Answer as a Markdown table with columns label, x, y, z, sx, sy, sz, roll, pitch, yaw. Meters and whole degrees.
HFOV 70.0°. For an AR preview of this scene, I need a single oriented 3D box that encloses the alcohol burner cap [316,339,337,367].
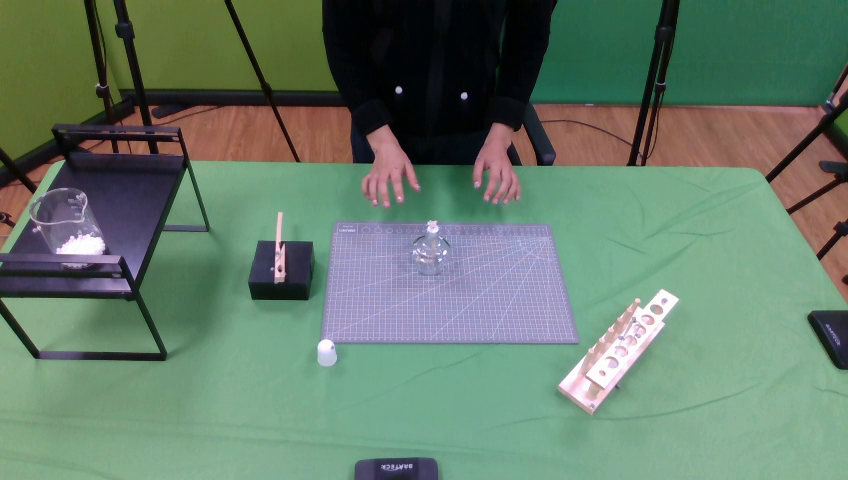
| label | x | y | z | sx | sy | sz | roll | pitch | yaw |
| --- | --- | --- | --- | --- | --- | --- | --- | --- | --- |
| alcohol burner cap | -0.161 | 0.182 | 0.995 | 0.034 | 0.048 | 0.033 | 2 | 47 | -2 |

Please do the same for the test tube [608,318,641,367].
| label | x | y | z | sx | sy | sz | roll | pitch | yaw |
| --- | --- | --- | --- | --- | --- | --- | --- | --- | --- |
| test tube | 0.308 | 0.169 | 0.941 | 0.017 | 0.151 | 0.017 | 1 | 49 | -1 |

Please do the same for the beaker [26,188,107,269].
| label | x | y | z | sx | sy | sz | roll | pitch | yaw |
| --- | --- | --- | --- | --- | --- | --- | --- | --- | --- |
| beaker | -0.504 | -0.013 | 0.868 | 0.084 | 0.101 | 0.074 | 23 | 49 | 17 |

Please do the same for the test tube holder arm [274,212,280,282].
| label | x | y | z | sx | sy | sz | roll | pitch | yaw |
| --- | --- | --- | --- | --- | --- | --- | --- | --- | --- |
| test tube holder arm | -0.267 | 0.008 | 1.103 | 0.013 | 0.015 | 0.177 | 6 | 40 | -20 |

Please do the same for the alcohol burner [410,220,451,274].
| label | x | y | z | sx | sy | sz | roll | pitch | yaw |
| --- | --- | --- | --- | --- | --- | --- | --- | --- | --- |
| alcohol burner | 0.013 | 0.007 | 1.120 | 0.078 | 0.120 | 0.077 | 1 | 48 | -1 |

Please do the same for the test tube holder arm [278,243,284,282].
| label | x | y | z | sx | sy | sz | roll | pitch | yaw |
| --- | --- | --- | --- | --- | --- | --- | --- | --- | --- |
| test tube holder arm | -0.253 | 0.039 | 1.072 | 0.010 | 0.015 | 0.087 | 7 | 40 | -19 |

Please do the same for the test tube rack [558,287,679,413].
| label | x | y | z | sx | sy | sz | roll | pitch | yaw |
| --- | --- | --- | --- | --- | --- | --- | --- | --- | --- |
| test tube rack | 0.326 | 0.170 | 1.009 | 0.066 | 0.085 | 0.242 | 36 | 54 | 27 |
